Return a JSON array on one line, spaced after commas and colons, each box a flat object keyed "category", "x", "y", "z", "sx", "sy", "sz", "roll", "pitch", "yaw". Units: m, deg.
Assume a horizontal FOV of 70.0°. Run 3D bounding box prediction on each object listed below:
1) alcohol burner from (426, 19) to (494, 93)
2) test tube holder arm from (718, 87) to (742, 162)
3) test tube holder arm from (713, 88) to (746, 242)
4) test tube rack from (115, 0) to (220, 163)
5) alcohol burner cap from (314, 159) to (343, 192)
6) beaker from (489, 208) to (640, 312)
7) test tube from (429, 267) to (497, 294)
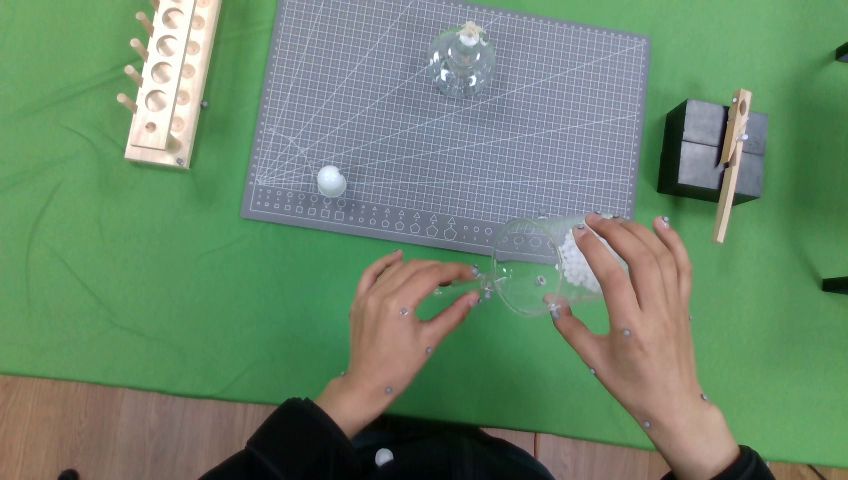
[{"category": "alcohol burner", "x": 0.041, "y": -0.208, "z": 0.662, "sx": 0.078, "sy": 0.119, "sz": 0.077, "roll": 0, "pitch": 84, "yaw": -4}, {"category": "test tube holder arm", "x": 0.349, "y": -0.130, "z": 0.689, "sx": 0.010, "sy": 0.015, "sz": 0.087, "roll": 11, "pitch": 84, "yaw": -3}, {"category": "test tube holder arm", "x": 0.346, "y": -0.085, "z": 0.686, "sx": 0.013, "sy": 0.015, "sz": 0.178, "roll": 10, "pitch": 84, "yaw": -3}, {"category": "test tube rack", "x": -0.275, "y": -0.214, "z": 0.646, "sx": 0.067, "sy": 0.085, "sz": 0.241, "roll": 9, "pitch": 83, "yaw": -5}, {"category": "alcohol burner cap", "x": -0.107, "y": -0.073, "z": 0.668, "sx": 0.034, "sy": 0.048, "sz": 0.034, "roll": 1, "pitch": 84, "yaw": -6}, {"category": "beaker", "x": 0.111, "y": 0.013, "z": 0.474, "sx": 0.101, "sy": 0.084, "sz": 0.073, "roll": -6, "pitch": 76, "yaw": -34}, {"category": "test tube", "x": 0.032, "y": 0.038, "z": 0.551, "sx": 0.017, "sy": 0.150, "sz": 0.017, "roll": 2, "pitch": 82, "yaw": -16}]
